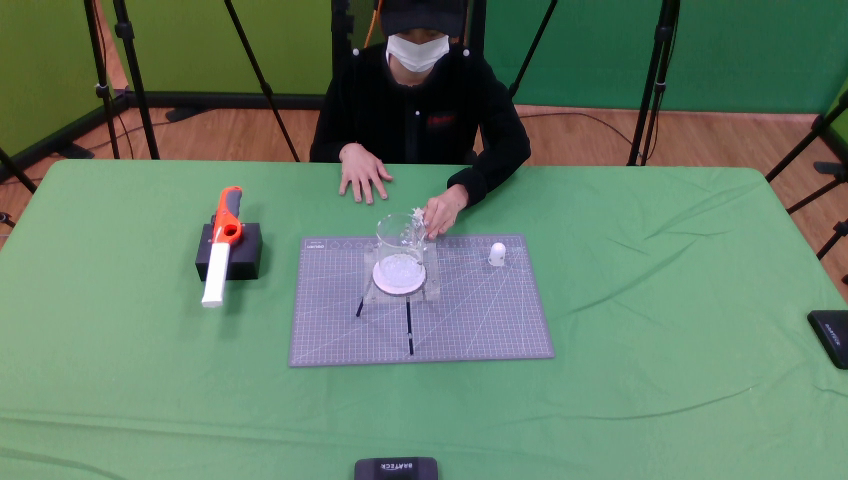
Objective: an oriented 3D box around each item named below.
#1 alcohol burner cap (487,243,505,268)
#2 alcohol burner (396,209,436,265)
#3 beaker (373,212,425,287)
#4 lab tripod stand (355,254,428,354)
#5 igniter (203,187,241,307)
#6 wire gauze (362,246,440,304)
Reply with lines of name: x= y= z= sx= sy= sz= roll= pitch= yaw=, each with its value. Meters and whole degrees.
alcohol burner cap: x=0.141 y=0.027 z=1.166 sx=0.034 sy=0.048 sz=0.033 roll=2 pitch=45 yaw=-2
alcohol burner: x=-0.015 y=-0.011 z=1.141 sx=0.078 sy=0.120 sz=0.077 roll=1 pitch=44 yaw=-1
beaker: x=-0.036 y=0.019 z=0.936 sx=0.074 sy=0.101 sz=0.083 roll=-29 pitch=54 yaw=-26
lab tripod stand: x=-0.046 y=0.100 z=1.017 sx=0.148 sy=0.132 sz=0.147 roll=1 pitch=47 yaw=-1
igniter: x=-0.365 y=0.003 z=1.098 sx=0.057 sy=0.025 sz=0.274 roll=-1 pitch=49 yaw=-7
wire gauze: x=-0.038 y=0.052 z=0.972 sx=0.121 sy=0.011 sz=0.124 roll=0 pitch=44 yaw=-5
